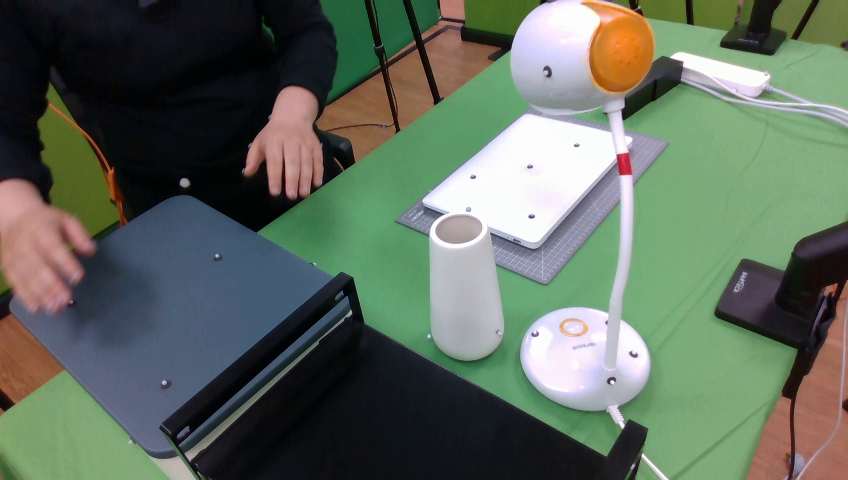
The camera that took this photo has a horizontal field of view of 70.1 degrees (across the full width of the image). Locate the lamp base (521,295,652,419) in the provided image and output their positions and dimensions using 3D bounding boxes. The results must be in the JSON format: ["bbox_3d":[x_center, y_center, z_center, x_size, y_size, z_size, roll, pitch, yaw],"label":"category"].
[{"bbox_3d":[0.201,0.095,0.710,0.161,0.181,0.177,-16,43,-10],"label":"lamp base"}]

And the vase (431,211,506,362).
[{"bbox_3d":[0.054,0.062,0.757,0.098,0.201,0.097,-3,40,3],"label":"vase"}]

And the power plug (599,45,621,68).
[{"bbox_3d":[0.437,-0.422,1.412,0.053,0.035,0.072,-18,75,-46],"label":"power plug"}]

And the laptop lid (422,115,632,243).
[{"bbox_3d":[0.190,-0.126,1.081,0.239,0.013,0.358,23,48,34],"label":"laptop lid"}]

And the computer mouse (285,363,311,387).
[{"bbox_3d":[-0.161,0.158,0.791,0.116,0.041,0.063,26,46,23],"label":"computer mouse"}]

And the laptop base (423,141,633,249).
[{"bbox_3d":[0.194,-0.117,1.087,0.233,0.023,0.355,21,47,34],"label":"laptop base"}]

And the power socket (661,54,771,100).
[{"bbox_3d":[0.615,-0.348,1.284,0.072,0.033,0.225,-36,48,-29],"label":"power socket"}]

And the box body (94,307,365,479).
[{"bbox_3d":[-0.281,0.128,0.759,0.361,0.161,0.255,24,49,32],"label":"box body"}]

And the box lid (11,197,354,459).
[{"bbox_3d":[-0.288,0.072,0.711,0.368,0.015,0.264,25,50,32],"label":"box lid"}]

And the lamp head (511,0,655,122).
[{"bbox_3d":[0.155,-0.168,0.564,0.113,0.113,0.122,-18,23,-12],"label":"lamp head"}]

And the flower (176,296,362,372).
[{"bbox_3d":[-0.232,0.115,0.833,0.359,0.038,0.044,11,86,33],"label":"flower"}]

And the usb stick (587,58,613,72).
[{"bbox_3d":[0.401,-0.399,1.380,0.059,0.027,0.021,1,48,20],"label":"usb stick"}]
